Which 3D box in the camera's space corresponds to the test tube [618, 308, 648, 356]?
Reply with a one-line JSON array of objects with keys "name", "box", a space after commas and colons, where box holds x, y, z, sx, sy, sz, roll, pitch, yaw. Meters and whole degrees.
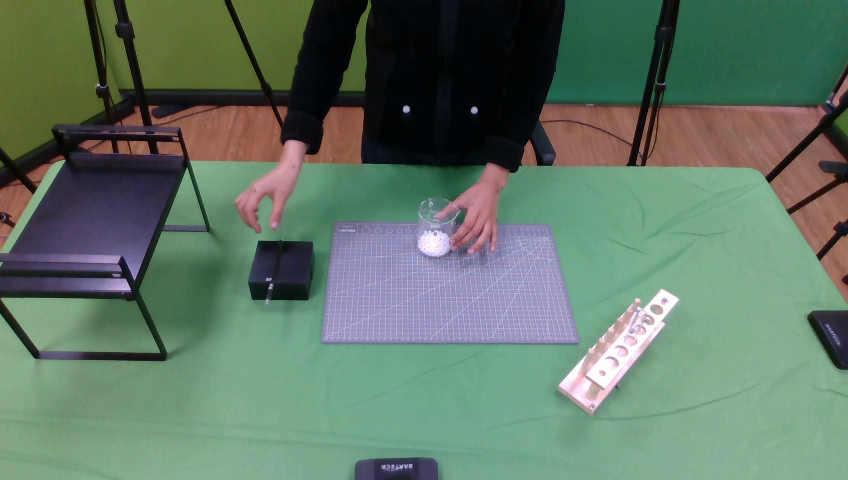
[{"name": "test tube", "box": [0.327, 0.154, 0.956, 0.017, 0.151, 0.017, -1, 50, 1]}]

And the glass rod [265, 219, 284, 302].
[{"name": "glass rod", "box": [-0.267, 0.031, 1.084, 0.008, 0.008, 0.198, 1, 47, -3]}]

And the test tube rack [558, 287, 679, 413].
[{"name": "test tube rack", "box": [0.326, 0.170, 1.009, 0.066, 0.085, 0.242, 36, 54, 26]}]

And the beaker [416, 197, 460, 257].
[{"name": "beaker", "box": [0.025, -0.023, 1.160, 0.084, 0.101, 0.073, -7, 48, -11]}]
